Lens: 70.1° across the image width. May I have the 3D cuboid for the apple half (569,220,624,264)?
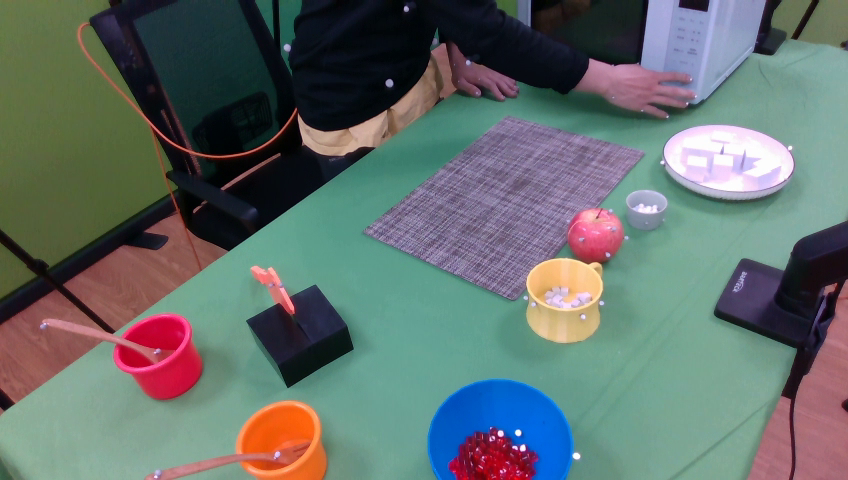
[{"bbox_3d":[0.251,0.010,0.884,0.081,0.081,0.032,3,37,13],"label":"apple half"}]

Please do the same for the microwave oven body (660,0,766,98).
[{"bbox_3d":[0.473,-0.513,1.317,0.438,0.261,0.327,26,51,34],"label":"microwave oven body"}]

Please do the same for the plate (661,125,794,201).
[{"bbox_3d":[0.514,-0.128,1.035,0.207,0.039,0.206,-4,40,4],"label":"plate"}]

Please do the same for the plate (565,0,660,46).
[{"bbox_3d":[0.427,-0.489,1.377,0.209,0.038,0.208,-5,40,4],"label":"plate"}]

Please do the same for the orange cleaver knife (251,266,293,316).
[{"bbox_3d":[-0.221,0.071,0.874,0.012,0.077,0.210,-25,11,-21],"label":"orange cleaver knife"}]

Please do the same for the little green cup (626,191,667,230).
[{"bbox_3d":[0.352,-0.046,0.963,0.061,0.039,0.061,-4,40,4],"label":"little green cup"}]

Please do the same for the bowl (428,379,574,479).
[{"bbox_3d":[0.082,0.232,0.645,0.151,0.077,0.150,-4,39,4],"label":"bowl"}]

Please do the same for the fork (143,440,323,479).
[{"bbox_3d":[-0.189,0.231,0.631,0.028,0.018,0.209,38,14,37],"label":"fork"}]

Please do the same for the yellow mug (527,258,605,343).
[{"bbox_3d":[0.202,0.073,0.825,0.131,0.064,0.099,-32,46,-27],"label":"yellow mug"}]

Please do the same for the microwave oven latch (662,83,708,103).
[{"bbox_3d":[0.518,-0.297,1.204,0.078,0.029,0.030,28,52,35],"label":"microwave oven latch"}]

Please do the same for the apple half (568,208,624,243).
[{"bbox_3d":[0.260,-0.014,0.914,0.080,0.075,0.053,0,36,15],"label":"apple half"}]

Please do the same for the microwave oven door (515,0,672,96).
[{"bbox_3d":[0.344,-0.455,1.260,0.353,0.245,0.039,26,51,33],"label":"microwave oven door"}]

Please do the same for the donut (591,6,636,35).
[{"bbox_3d":[0.427,-0.497,1.364,0.099,0.048,0.098,-5,38,4],"label":"donut"}]

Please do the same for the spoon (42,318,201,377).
[{"bbox_3d":[-0.385,0.135,0.779,0.195,0.021,0.041,29,38,-27],"label":"spoon"}]
